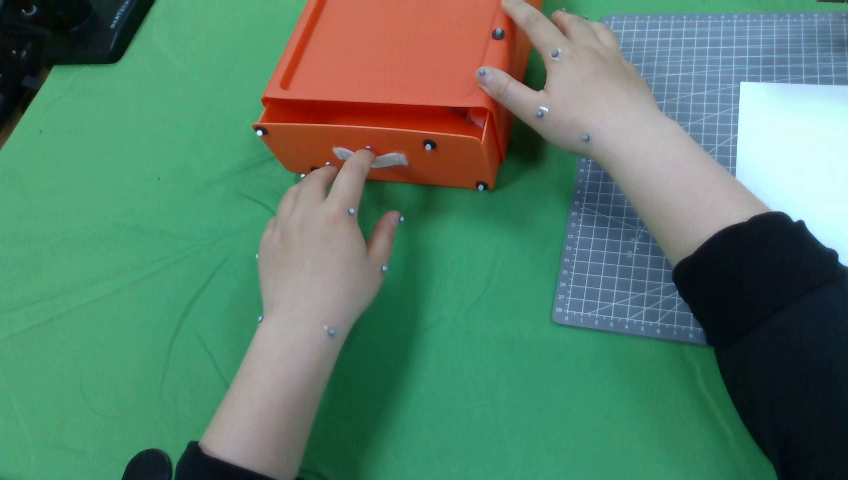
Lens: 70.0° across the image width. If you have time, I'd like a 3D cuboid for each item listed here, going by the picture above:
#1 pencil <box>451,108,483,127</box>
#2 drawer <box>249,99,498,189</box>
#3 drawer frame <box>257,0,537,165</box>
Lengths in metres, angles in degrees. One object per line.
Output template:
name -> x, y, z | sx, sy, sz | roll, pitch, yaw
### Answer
pencil -> -0.010, -0.144, 0.556 | 0.012, 0.012, 0.192 | -45, 55, -11
drawer -> -0.020, -0.153, 0.529 | 0.193, 0.074, 0.210 | 7, 64, 20
drawer frame -> -0.014, -0.177, 0.539 | 0.201, 0.083, 0.212 | 6, 63, 19
